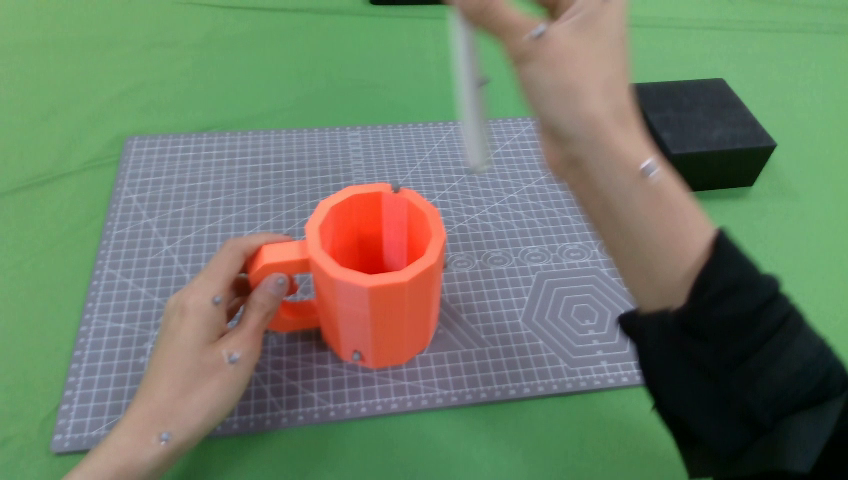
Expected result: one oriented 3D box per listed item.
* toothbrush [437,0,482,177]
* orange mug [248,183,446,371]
[{"bbox_3d":[0.013,-0.111,0.303,0.014,0.183,0.016,-24,36,-16],"label":"toothbrush"},{"bbox_3d":[-0.049,0.027,0.401,0.126,0.101,0.082,-5,49,-14],"label":"orange mug"}]
